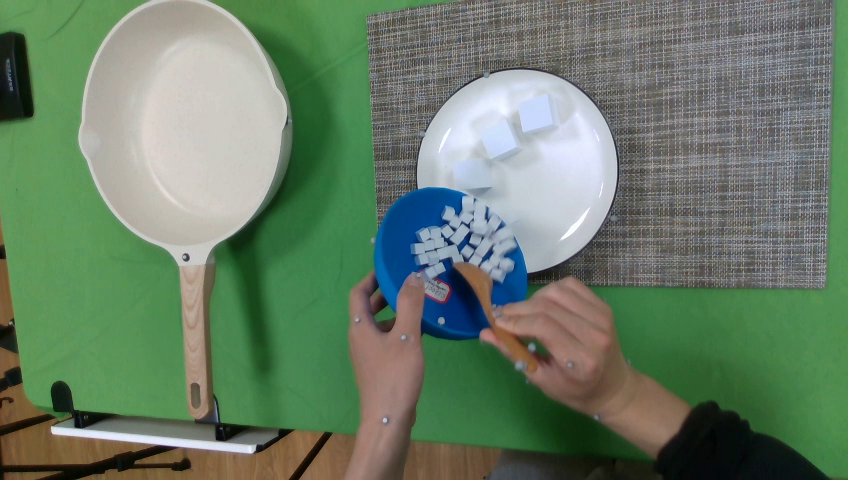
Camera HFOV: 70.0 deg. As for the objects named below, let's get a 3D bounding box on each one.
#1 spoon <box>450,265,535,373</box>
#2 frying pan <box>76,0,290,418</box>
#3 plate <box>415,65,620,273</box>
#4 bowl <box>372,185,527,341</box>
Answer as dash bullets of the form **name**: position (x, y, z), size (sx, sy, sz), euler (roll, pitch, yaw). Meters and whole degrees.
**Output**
- **spoon**: position (0.057, 0.061, 0.508), size (0.042, 0.192, 0.022), euler (25, 106, -19)
- **frying pan**: position (-0.281, -0.032, 0.731), size (0.306, 0.103, 0.487), euler (-3, 87, 21)
- **plate**: position (0.093, -0.070, 0.621), size (0.207, 0.039, 0.208), euler (2, 97, 20)
- **bowl**: position (0.012, 0.033, 0.569), size (0.151, 0.151, 0.077), euler (53, 142, 8)
